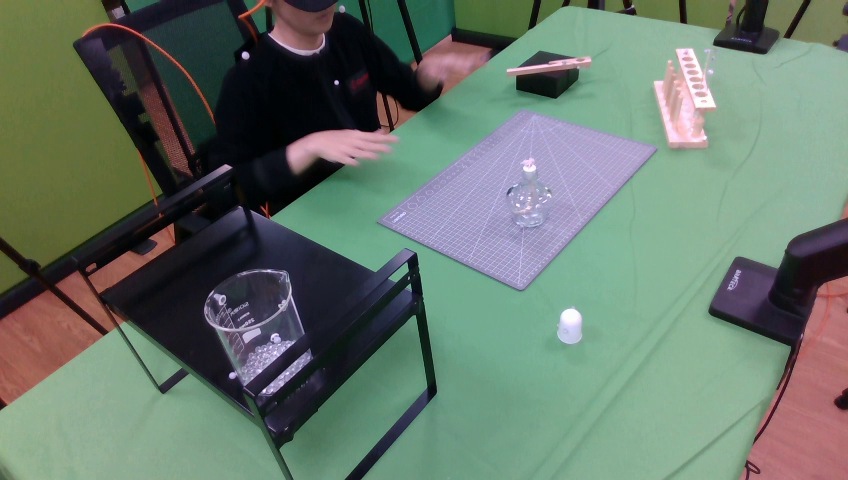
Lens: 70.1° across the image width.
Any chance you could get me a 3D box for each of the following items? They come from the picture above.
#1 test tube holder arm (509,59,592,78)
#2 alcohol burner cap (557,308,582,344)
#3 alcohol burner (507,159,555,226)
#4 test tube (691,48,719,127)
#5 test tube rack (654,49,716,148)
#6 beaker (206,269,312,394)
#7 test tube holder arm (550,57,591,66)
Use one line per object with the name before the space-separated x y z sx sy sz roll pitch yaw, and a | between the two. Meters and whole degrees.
test tube holder arm | 0.269 -0.367 1.291 0.178 0.015 0.013 -9 48 0
alcohol burner cap | 0.194 0.111 0.802 0.034 0.048 0.033 -4 39 3
alcohol burner | 0.172 -0.081 0.969 0.078 0.119 0.077 -4 43 4
test tube | 0.505 -0.271 1.089 0.017 0.151 0.017 -2 38 2
test tube rack | 0.502 -0.281 1.176 0.066 0.085 0.241 2 41 11
beaker | -0.146 0.086 0.560 0.073 0.101 0.084 19 46 27
test tube holder arm | 0.313 -0.378 1.294 0.088 0.015 0.010 -8 48 1
